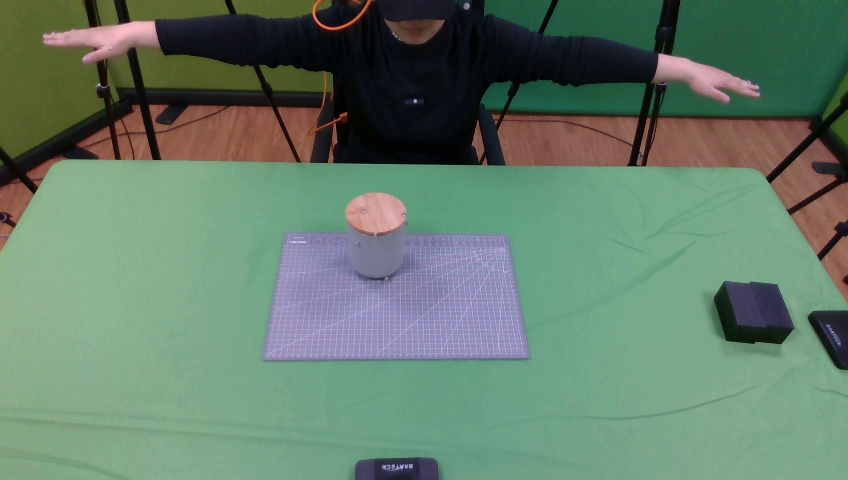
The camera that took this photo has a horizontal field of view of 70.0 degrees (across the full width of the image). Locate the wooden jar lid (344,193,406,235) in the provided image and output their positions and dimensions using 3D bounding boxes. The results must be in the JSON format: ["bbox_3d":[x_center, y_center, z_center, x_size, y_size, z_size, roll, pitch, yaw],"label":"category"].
[{"bbox_3d":[-0.086,-0.043,1.071,0.108,0.021,0.107,3,44,-3],"label":"wooden jar lid"}]

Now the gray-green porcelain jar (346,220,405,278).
[{"bbox_3d":[-0.089,0.000,1.116,0.106,0.127,0.105,2,46,-2],"label":"gray-green porcelain jar"}]
